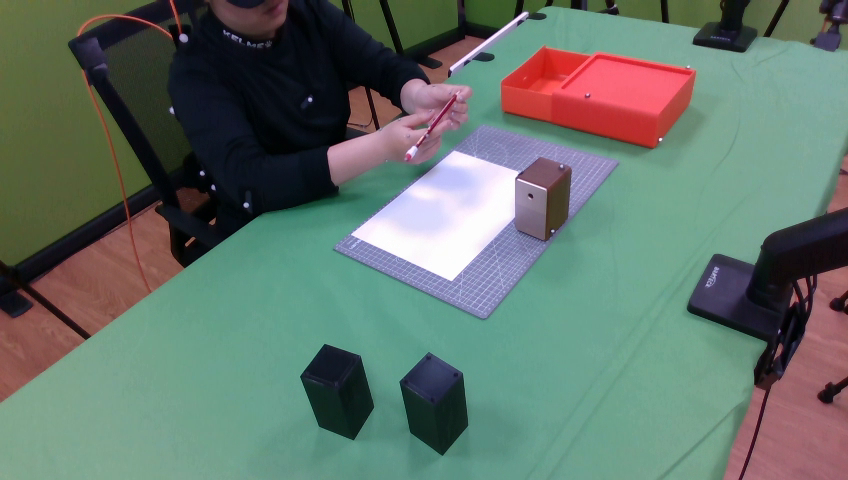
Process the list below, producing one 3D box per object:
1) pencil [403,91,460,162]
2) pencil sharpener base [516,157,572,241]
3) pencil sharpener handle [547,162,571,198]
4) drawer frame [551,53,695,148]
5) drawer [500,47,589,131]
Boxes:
[{"bbox_3d":[0.016,-0.191,0.994,0.012,0.012,0.194,16,53,26],"label":"pencil"},{"bbox_3d":[0.189,-0.065,0.948,0.061,0.107,0.077,24,49,33],"label":"pencil sharpener base"},{"bbox_3d":[0.221,-0.102,0.968,0.035,0.068,0.031,20,47,37],"label":"pencil sharpener handle"},{"bbox_3d":[0.391,-0.281,1.196,0.212,0.083,0.202,22,48,29],"label":"drawer frame"},{"bbox_3d":[0.295,-0.315,1.255,0.210,0.073,0.195,22,47,29],"label":"drawer"}]
